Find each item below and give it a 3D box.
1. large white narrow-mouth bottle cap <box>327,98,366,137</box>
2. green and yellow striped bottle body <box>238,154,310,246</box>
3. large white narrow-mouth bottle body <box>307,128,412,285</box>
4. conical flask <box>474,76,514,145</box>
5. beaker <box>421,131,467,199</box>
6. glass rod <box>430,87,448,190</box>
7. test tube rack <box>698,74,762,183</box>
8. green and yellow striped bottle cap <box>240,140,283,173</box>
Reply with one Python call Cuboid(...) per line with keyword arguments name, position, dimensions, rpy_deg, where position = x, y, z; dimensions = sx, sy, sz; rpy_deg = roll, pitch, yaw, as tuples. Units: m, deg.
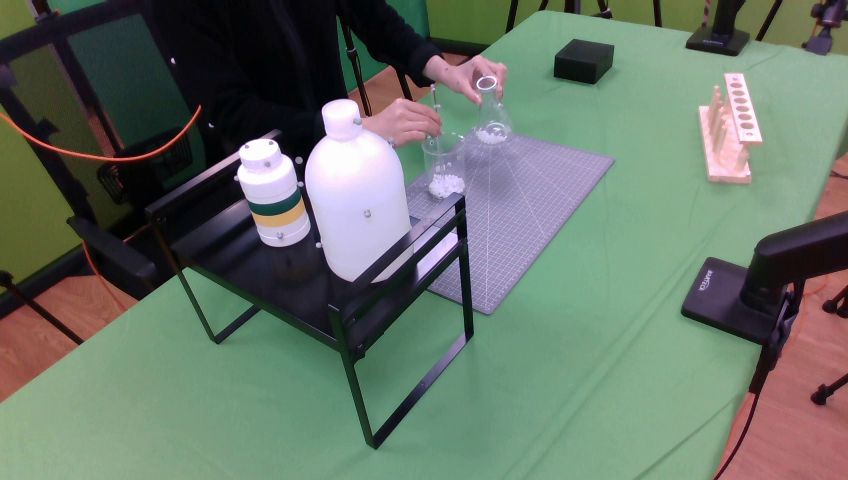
Cuboid(name="large white narrow-mouth bottle cap", position=(-0.075, -0.118, 0.582), dimensions=(0.038, 0.024, 0.037), rpy_deg=(-3, 40, 3))
Cuboid(name="green and yellow striped bottle body", position=(-0.178, -0.056, 0.714), dimensions=(0.063, 0.120, 0.063), rpy_deg=(-4, 40, 4))
Cuboid(name="large white narrow-mouth bottle body", position=(-0.070, -0.051, 0.638), dimensions=(0.102, 0.195, 0.101), rpy_deg=(-3, 40, 3))
Cuboid(name="conical flask", position=(0.122, -0.238, 1.099), dimensions=(0.075, 0.122, 0.075), rpy_deg=(-7, 52, 9))
Cuboid(name="beaker", position=(0.040, -0.130, 1.060), dimensions=(0.084, 0.100, 0.073), rpy_deg=(-24, 44, -20))
Cuboid(name="glass rod", position=(0.026, -0.163, 1.008), dimensions=(0.008, 0.200, 0.008), rpy_deg=(-6, 41, 5))
Cuboid(name="test tube rack", position=(0.547, -0.208, 1.094), dimensions=(0.066, 0.085, 0.242), rpy_deg=(5, 42, 15))
Cuboid(name="green and yellow striped bottle cap", position=(-0.183, -0.094, 0.680), dimensions=(0.045, 0.020, 0.045), rpy_deg=(-5, 38, 4))
